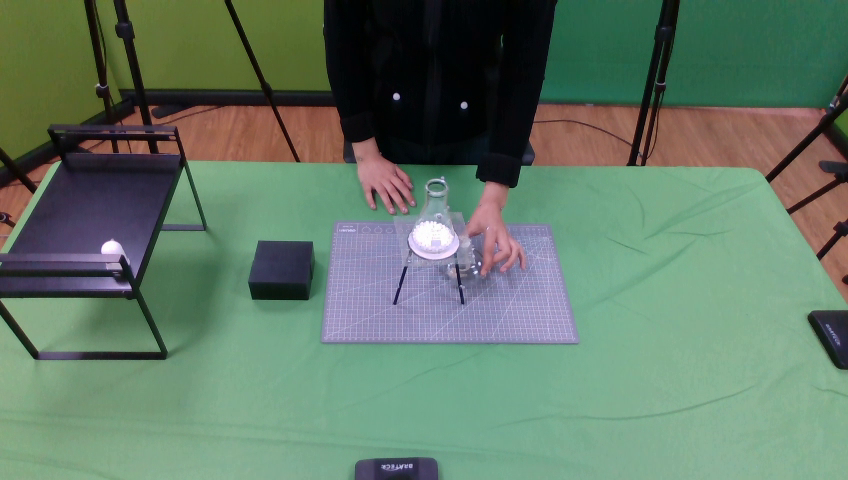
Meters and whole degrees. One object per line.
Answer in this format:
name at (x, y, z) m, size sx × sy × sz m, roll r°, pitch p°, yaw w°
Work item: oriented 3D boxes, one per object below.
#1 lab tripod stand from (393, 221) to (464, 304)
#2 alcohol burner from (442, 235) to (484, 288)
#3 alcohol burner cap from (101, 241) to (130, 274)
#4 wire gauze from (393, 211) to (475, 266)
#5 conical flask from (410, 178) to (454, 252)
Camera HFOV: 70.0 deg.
lab tripod stand at (0.010, 0.045, 1.075) m, size 0.148 × 0.132 × 0.147 m, roll 2°, pitch 48°, yaw -2°
alcohol burner at (0.071, 0.032, 1.099) m, size 0.078 × 0.120 × 0.077 m, roll -2°, pitch 50°, yaw 2°
alcohol burner cap at (-0.449, 0.022, 0.878) m, size 0.034 × 0.048 × 0.033 m, roll 2°, pitch 45°, yaw -2°
wire gauze at (0.015, -0.002, 1.029) m, size 0.125 × 0.011 × 0.120 m, roll -6°, pitch 45°, yaw -6°
conical flask at (0.017, -0.043, 0.987) m, size 0.075 × 0.122 × 0.075 m, roll 2°, pitch 47°, yaw -2°
